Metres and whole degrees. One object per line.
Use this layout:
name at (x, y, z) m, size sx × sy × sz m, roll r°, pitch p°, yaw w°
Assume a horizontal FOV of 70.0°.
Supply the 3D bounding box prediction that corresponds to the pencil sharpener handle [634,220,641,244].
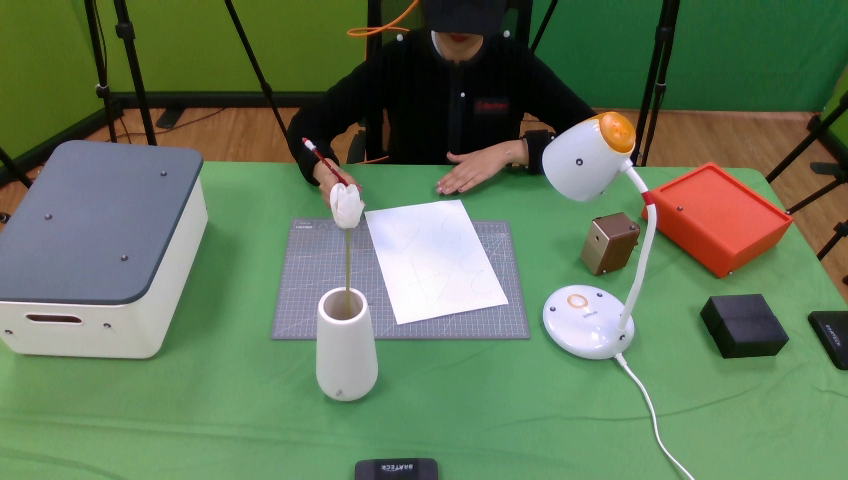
pencil sharpener handle at (0.405, -0.015, 1.162) m, size 0.031 × 0.068 × 0.035 m, roll -15°, pitch 45°, yaw -18°

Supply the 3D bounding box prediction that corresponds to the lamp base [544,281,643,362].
lamp base at (0.303, 0.095, 1.014) m, size 0.161 × 0.181 × 0.178 m, roll -24°, pitch 54°, yaw -24°

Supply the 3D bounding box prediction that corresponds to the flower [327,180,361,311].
flower at (-0.111, 0.086, 0.867) m, size 0.044 × 0.363 × 0.038 m, roll 22°, pitch 33°, yaw 36°

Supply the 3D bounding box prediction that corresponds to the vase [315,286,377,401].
vase at (-0.119, 0.159, 0.911) m, size 0.098 × 0.201 × 0.097 m, roll 2°, pitch 47°, yaw -2°

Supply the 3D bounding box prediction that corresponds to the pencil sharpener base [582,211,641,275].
pencil sharpener base at (0.357, 0.005, 1.156) m, size 0.077 × 0.107 × 0.061 m, roll -15°, pitch 48°, yaw -18°

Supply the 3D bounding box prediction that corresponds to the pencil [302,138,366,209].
pencil at (-0.174, -0.129, 1.170) m, size 0.012 × 0.012 × 0.193 m, roll -34°, pitch 74°, yaw -31°

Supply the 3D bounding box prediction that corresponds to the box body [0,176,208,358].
box body at (-0.546, 0.017, 1.045) m, size 0.254 × 0.161 × 0.361 m, roll 2°, pitch 46°, yaw -2°

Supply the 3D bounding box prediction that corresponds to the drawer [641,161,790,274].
drawer at (0.596, -0.051, 1.246) m, size 0.194 × 0.073 × 0.210 m, roll -23°, pitch 53°, yaw -25°

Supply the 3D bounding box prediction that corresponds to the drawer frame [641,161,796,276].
drawer frame at (0.599, -0.051, 1.244) m, size 0.202 × 0.083 × 0.212 m, roll -24°, pitch 52°, yaw -25°

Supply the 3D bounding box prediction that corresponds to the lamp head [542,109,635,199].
lamp head at (0.253, -0.131, 0.893) m, size 0.113 × 0.123 × 0.112 m, roll 10°, pitch 66°, yaw -24°

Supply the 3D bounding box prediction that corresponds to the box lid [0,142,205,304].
box lid at (-0.534, -0.044, 0.995) m, size 0.263 × 0.015 × 0.369 m, roll 3°, pitch 45°, yaw -3°

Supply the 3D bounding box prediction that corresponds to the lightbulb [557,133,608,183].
lightbulb at (0.243, -0.127, 0.917) m, size 0.060 × 0.108 × 0.059 m, roll 6°, pitch 67°, yaw -14°
